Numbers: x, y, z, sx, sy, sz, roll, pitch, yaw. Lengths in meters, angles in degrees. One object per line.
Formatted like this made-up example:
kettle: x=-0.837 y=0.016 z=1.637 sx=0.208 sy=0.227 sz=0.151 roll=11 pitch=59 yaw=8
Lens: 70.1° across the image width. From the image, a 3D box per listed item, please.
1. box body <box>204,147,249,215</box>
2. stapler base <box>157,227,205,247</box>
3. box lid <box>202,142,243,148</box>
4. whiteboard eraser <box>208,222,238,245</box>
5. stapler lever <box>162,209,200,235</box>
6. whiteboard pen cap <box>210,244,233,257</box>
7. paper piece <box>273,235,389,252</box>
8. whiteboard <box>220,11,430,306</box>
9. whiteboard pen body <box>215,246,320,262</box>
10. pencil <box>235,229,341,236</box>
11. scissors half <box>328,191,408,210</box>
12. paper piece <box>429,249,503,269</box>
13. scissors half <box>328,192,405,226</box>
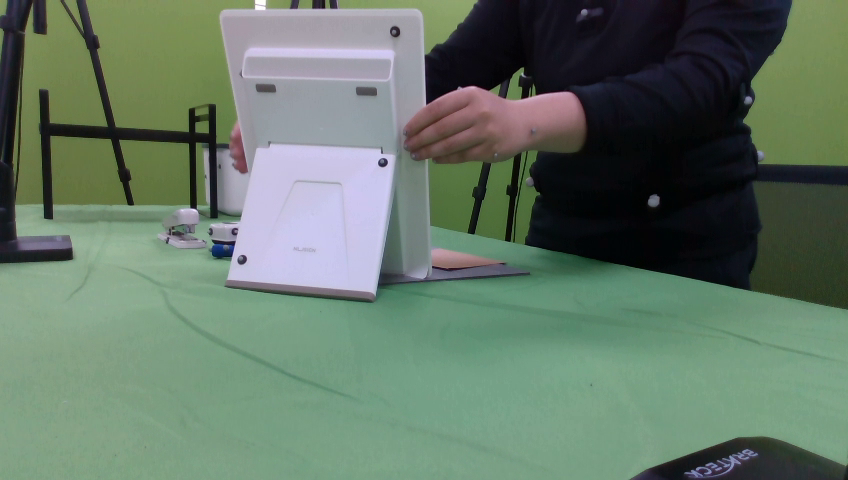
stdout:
box body: x=-0.346 y=-0.152 z=1.520 sx=0.366 sy=0.160 sz=0.253 roll=-1 pitch=9 yaw=-31
stapler base: x=-0.376 y=-0.007 z=0.935 sx=0.041 sy=0.024 sz=0.130 roll=1 pitch=5 yaw=-38
box lid: x=-0.344 y=-0.225 z=1.509 sx=0.373 sy=0.015 sz=0.262 roll=-2 pitch=8 yaw=-31
whiteboard eraser: x=-0.253 y=-0.007 z=0.887 sx=0.055 sy=0.042 sz=0.113 roll=11 pitch=11 yaw=43
stapler lever: x=-0.376 y=-0.031 z=0.933 sx=0.027 sy=0.040 sz=0.117 roll=1 pitch=6 yaw=-38
whiteboard pen cap: x=-0.266 y=0.014 z=0.807 sx=0.033 sy=0.018 sz=0.018 roll=1 pitch=8 yaw=-1
paper piece: x=-0.151 y=0.003 z=0.978 sx=0.135 sy=0.008 sz=0.139 roll=13 pitch=10 yaw=35
whiteboard: x=-0.119 y=-0.064 z=0.620 sx=0.217 sy=0.305 sz=0.144 roll=5 pitch=28 yaw=13
whiteboard pen body: x=-0.208 y=0.018 z=0.805 sx=0.141 sy=0.017 sz=0.017 roll=3 pitch=7 yaw=2
pencil: x=-0.232 y=-0.012 z=1.053 sx=0.195 sy=0.012 sz=0.012 roll=0 pitch=8 yaw=-36
scissors half: x=-0.122 y=-0.091 z=1.318 sx=0.175 sy=0.040 sz=0.013 roll=5 pitch=13 yaw=-2
paper piece: x=0.025 y=0.026 z=0.865 sx=0.134 sy=0.004 sz=0.136 roll=9 pitch=9 yaw=43
scissors half: x=-0.127 y=-0.072 z=1.322 sx=0.175 sy=0.040 sz=0.013 roll=22 pitch=6 yaw=-5
